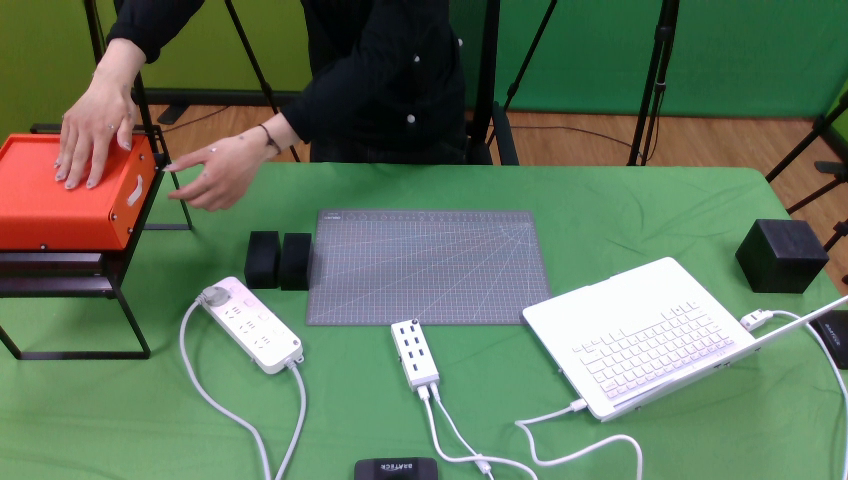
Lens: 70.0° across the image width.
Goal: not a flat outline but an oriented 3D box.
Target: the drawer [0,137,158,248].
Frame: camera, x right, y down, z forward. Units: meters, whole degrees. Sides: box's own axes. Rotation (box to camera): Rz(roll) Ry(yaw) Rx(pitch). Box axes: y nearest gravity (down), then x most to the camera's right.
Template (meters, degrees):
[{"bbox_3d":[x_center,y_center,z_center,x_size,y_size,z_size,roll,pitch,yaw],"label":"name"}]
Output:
[{"bbox_3d":[-0.549,-0.078,0.943,0.212,0.073,0.193,0,47,-4],"label":"drawer"}]

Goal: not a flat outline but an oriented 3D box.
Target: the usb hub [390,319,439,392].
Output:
[{"bbox_3d":[-0.016,0.190,1.013,0.049,0.025,0.124,-11,48,-15],"label":"usb hub"}]

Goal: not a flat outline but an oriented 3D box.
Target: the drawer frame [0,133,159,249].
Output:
[{"bbox_3d":[-0.553,-0.079,0.941,0.214,0.083,0.200,-1,47,-4],"label":"drawer frame"}]

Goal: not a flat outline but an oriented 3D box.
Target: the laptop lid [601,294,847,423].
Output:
[{"bbox_3d":[0.449,0.179,0.905,0.357,0.242,0.013,-17,64,-20],"label":"laptop lid"}]

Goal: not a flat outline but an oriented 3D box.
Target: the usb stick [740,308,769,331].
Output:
[{"bbox_3d":[0.587,0.146,1.088,0.059,0.027,0.021,-21,48,-17],"label":"usb stick"}]

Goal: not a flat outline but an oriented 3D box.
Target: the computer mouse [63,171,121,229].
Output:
[{"bbox_3d":[-0.522,-0.067,0.954,0.063,0.041,0.116,1,49,-10],"label":"computer mouse"}]

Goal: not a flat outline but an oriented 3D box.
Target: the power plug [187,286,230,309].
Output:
[{"bbox_3d":[-0.370,0.103,1.039,0.072,0.053,0.035,-25,53,-23],"label":"power plug"}]

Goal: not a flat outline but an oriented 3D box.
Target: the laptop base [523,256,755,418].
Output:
[{"bbox_3d":[0.380,0.159,1.077,0.355,0.023,0.234,-17,47,-20],"label":"laptop base"}]

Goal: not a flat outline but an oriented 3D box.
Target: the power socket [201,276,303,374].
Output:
[{"bbox_3d":[-0.297,0.141,1.034,0.225,0.033,0.072,38,55,27],"label":"power socket"}]
